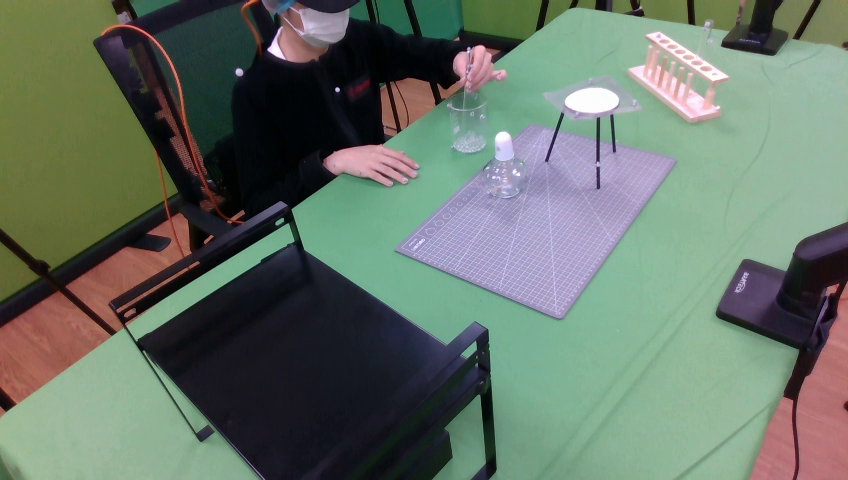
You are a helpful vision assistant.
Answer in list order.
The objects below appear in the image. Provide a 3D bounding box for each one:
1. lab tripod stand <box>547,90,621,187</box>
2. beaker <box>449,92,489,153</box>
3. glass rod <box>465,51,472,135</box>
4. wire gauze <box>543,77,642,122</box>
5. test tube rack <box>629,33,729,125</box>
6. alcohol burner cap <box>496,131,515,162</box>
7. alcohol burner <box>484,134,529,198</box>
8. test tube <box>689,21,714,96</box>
[{"bbox_3d":[0.289,-0.184,1.062,0.148,0.132,0.147,-6,41,6],"label":"lab tripod stand"},{"bbox_3d":[0.092,-0.228,1.177,0.073,0.101,0.084,15,45,24],"label":"beaker"},{"bbox_3d":[0.085,-0.272,1.144,0.008,0.200,0.008,-1,54,1],"label":"glass rod"},{"bbox_3d":[0.282,-0.236,1.020,0.125,0.011,0.120,-15,40,-6],"label":"wire gauze"},{"bbox_3d":[0.516,-0.337,1.247,0.067,0.085,0.240,-14,41,-7],"label":"test tube rack"},{"bbox_3d":[0.135,-0.160,1.019,0.034,0.048,0.033,-8,38,7],"label":"alcohol burner cap"},{"bbox_3d":[0.141,-0.133,1.041,0.078,0.119,0.077,-4,43,5],"label":"alcohol burner"},{"bbox_3d":[0.542,-0.353,1.184,0.017,0.151,0.017,-2,40,2],"label":"test tube"}]
